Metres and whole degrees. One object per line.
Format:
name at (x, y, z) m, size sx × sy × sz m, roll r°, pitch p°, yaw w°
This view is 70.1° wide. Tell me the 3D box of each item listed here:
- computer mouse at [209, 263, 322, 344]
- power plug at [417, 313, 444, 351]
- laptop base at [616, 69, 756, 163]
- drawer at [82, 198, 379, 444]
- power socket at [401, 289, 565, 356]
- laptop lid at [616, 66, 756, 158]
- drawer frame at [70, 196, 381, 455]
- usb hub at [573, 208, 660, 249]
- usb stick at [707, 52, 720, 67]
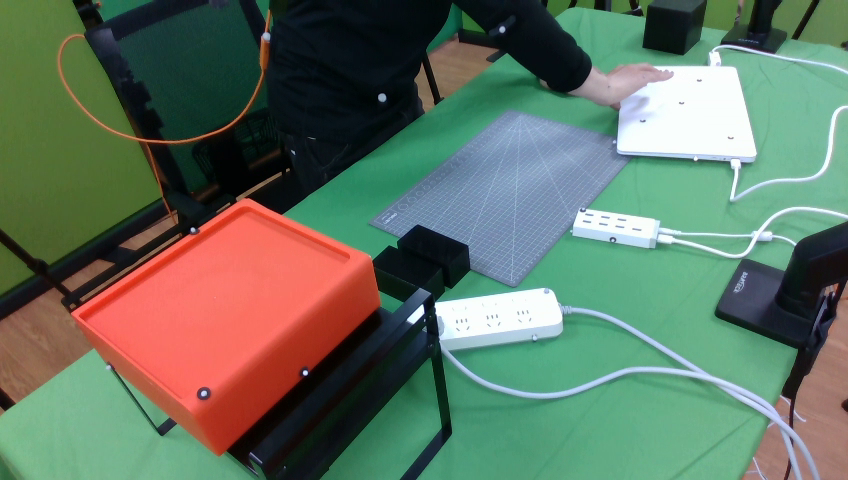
computer mouse at (-0.165, 0.062, 0.624) m, size 0.116 × 0.041 × 0.063 m, roll 22°, pitch 44°, yaw 27°
power plug at (0.007, 0.127, 0.786) m, size 0.035 × 0.053 × 0.072 m, roll 0°, pitch 43°, yaw 8°
laptop base at (0.509, -0.254, 1.202) m, size 0.234 × 0.023 × 0.353 m, roll 4°, pitch 41°, yaw 16°
drawer at (-0.185, 0.065, 0.600) m, size 0.193 × 0.073 × 0.212 m, roll 24°, pitch 49°, yaw 31°
power socket at (0.081, 0.112, 0.822) m, size 0.227 × 0.033 × 0.072 m, roll -7°, pitch 41°, yaw -1°
laptop lid at (0.506, -0.265, 1.193) m, size 0.241 × 0.013 × 0.356 m, roll 6°, pitch 42°, yaw 16°
drawer frame at (-0.186, 0.068, 0.597) m, size 0.200 × 0.083 × 0.214 m, roll 23°, pitch 49°, yaw 30°
usb hub at (0.302, -0.019, 0.949) m, size 0.124 × 0.025 × 0.049 m, roll 11°, pitch 43°, yaw 20°
usb stick at (0.629, -0.382, 1.312) m, size 0.021 × 0.027 × 0.059 m, roll 3°, pitch 47°, yaw 15°
